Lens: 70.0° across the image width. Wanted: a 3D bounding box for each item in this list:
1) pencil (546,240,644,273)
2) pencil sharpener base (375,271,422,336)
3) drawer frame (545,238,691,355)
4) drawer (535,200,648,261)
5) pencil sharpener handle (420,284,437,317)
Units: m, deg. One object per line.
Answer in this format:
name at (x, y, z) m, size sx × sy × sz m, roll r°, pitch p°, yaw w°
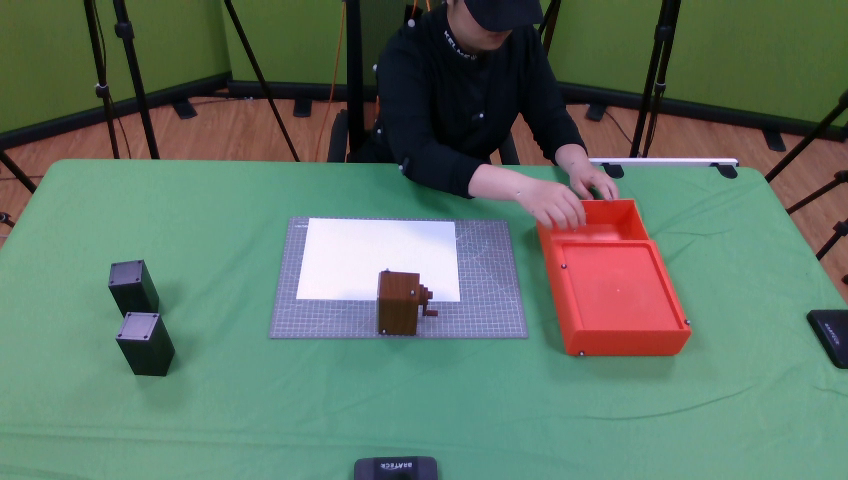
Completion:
pencil at (0.333, 0.032, 1.186) m, size 0.193 × 0.012 × 0.012 m, roll 18°, pitch 47°, yaw 14°
pencil sharpener base at (-0.043, 0.109, 1.024) m, size 0.077 × 0.107 × 0.061 m, roll 3°, pitch 45°, yaw -2°
drawer frame at (0.338, 0.097, 1.086) m, size 0.202 × 0.083 × 0.212 m, roll 0°, pitch 46°, yaw -4°
drawer at (0.333, 0.016, 1.171) m, size 0.195 × 0.073 × 0.210 m, roll 0°, pitch 47°, yaw -5°
pencil sharpener handle at (0.009, 0.104, 1.017) m, size 0.030 × 0.068 × 0.036 m, roll 3°, pitch 40°, yaw -2°
